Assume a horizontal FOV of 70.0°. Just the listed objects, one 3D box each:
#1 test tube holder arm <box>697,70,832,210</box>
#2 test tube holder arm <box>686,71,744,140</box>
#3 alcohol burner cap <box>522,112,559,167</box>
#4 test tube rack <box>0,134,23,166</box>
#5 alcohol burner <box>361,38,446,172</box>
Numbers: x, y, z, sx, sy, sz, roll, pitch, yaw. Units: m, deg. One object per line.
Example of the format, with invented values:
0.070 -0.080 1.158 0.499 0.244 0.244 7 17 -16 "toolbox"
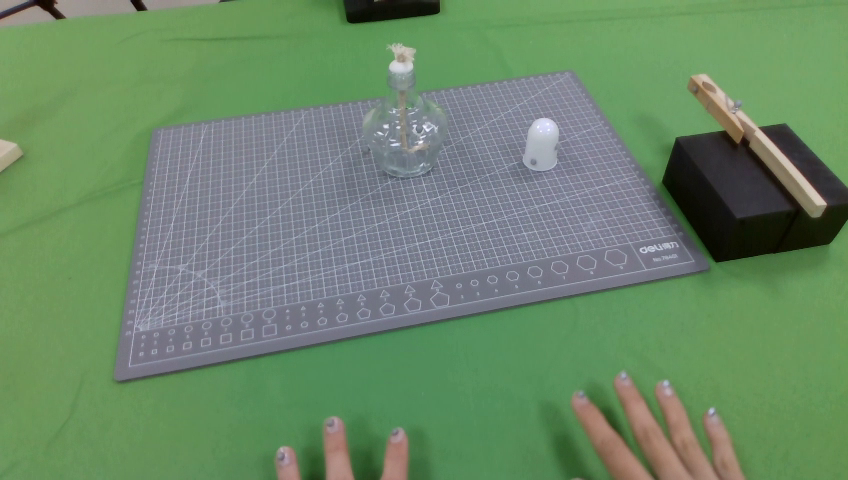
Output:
0.273 -0.089 0.500 0.013 0.015 0.176 -19 49 -2 "test tube holder arm"
0.256 -0.119 0.529 0.010 0.015 0.087 -18 49 -1 "test tube holder arm"
0.107 -0.094 0.554 0.034 0.048 0.033 -1 47 2 "alcohol burner cap"
-0.472 -0.044 0.500 0.066 0.086 0.241 16 50 16 "test tube rack"
-0.019 -0.120 0.532 0.078 0.120 0.077 -1 46 2 "alcohol burner"
